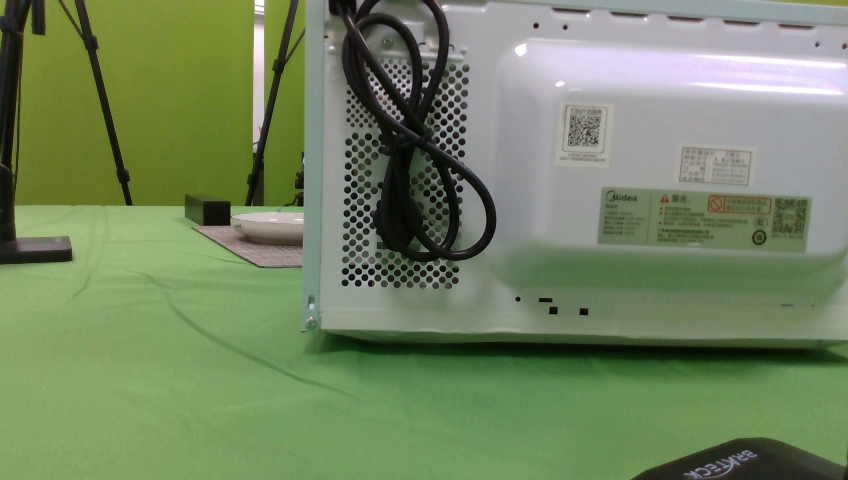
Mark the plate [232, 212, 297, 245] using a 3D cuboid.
[{"bbox_3d":[-0.214,-0.019,1.018,0.208,0.039,0.207,2,7,0],"label":"plate"}]

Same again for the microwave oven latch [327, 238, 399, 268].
[{"bbox_3d":[-0.069,0.015,0.694,0.079,0.029,0.030,3,7,-3],"label":"microwave oven latch"}]

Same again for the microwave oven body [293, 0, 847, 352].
[{"bbox_3d":[0.122,-0.055,0.550,0.442,0.260,0.325,3,7,-5],"label":"microwave oven body"}]

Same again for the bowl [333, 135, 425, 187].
[{"bbox_3d":[-0.074,-0.127,0.990,0.151,0.077,0.151,3,7,0],"label":"bowl"}]

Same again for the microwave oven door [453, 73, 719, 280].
[{"bbox_3d":[0.195,-0.091,0.815,0.354,0.243,0.039,8,9,38],"label":"microwave oven door"}]
